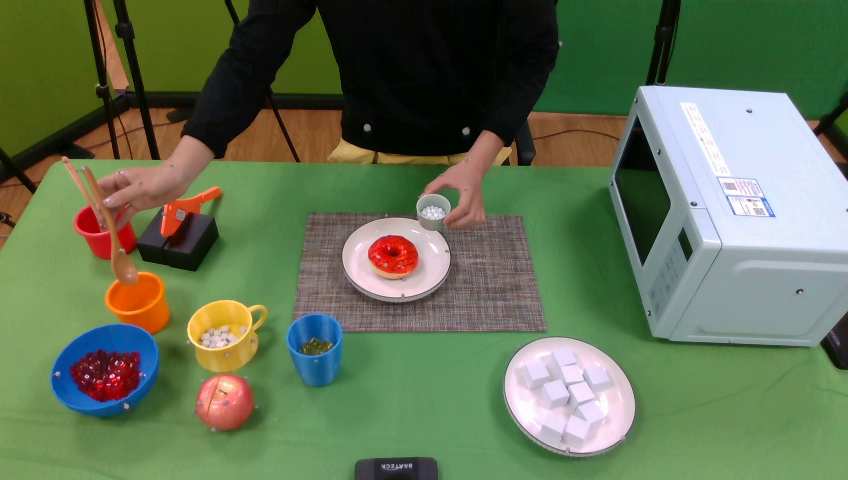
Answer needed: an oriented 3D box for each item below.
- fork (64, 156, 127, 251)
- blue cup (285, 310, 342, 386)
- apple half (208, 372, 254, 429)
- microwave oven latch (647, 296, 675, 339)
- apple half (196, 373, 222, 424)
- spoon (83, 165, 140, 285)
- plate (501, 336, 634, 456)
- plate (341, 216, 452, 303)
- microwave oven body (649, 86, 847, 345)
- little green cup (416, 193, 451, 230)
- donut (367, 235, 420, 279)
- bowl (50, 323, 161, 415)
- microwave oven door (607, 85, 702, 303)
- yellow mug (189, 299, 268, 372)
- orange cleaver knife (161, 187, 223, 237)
[{"bbox_3d":[-0.614,-0.063,1.130,0.028,0.018,0.207,-30,97,-17],"label":"fork"},{"bbox_3d":[-0.170,0.179,0.958,0.093,0.101,0.092,2,44,-2],"label":"blue cup"},{"bbox_3d":[-0.283,0.244,0.908,0.053,0.075,0.080,7,42,-1],"label":"apple half"},{"bbox_3d":[0.413,0.134,1.061,0.030,0.029,0.078,5,45,2],"label":"microwave oven latch"},{"bbox_3d":[-0.322,0.239,0.906,0.033,0.081,0.081,7,46,0],"label":"apple half"},{"bbox_3d":[-0.476,-0.022,0.924,0.021,0.194,0.041,-4,18,18],"label":"spoon"},{"bbox_3d":[0.225,0.248,0.964,0.208,0.039,0.206,2,46,-2],"label":"plate"},{"bbox_3d":[-0.052,0.039,1.140,0.209,0.038,0.208,2,46,-2],"label":"plate"},{"bbox_3d":[0.568,-0.053,1.118,0.326,0.261,0.439,2,45,-1],"label":"microwave oven body"},{"bbox_3d":[0.017,-0.049,1.079,0.061,0.039,0.061,-1,65,3],"label":"little green cup"},{"bbox_3d":[-0.056,0.032,1.132,0.099,0.048,0.098,3,45,-3],"label":"donut"},{"bbox_3d":[-0.472,0.209,0.924,0.151,0.077,0.150,3,45,-2],"label":"bowl"},{"bbox_3d":[0.423,-0.094,1.140,0.039,0.245,0.353,2,46,-1],"label":"microwave oven door"},{"bbox_3d":[-0.316,0.148,1.001,0.131,0.064,0.099,-32,56,-32],"label":"yellow mug"},{"bbox_3d":[-0.448,-0.058,1.180,0.012,0.077,0.211,13,17,6],"label":"orange cleaver knife"}]
